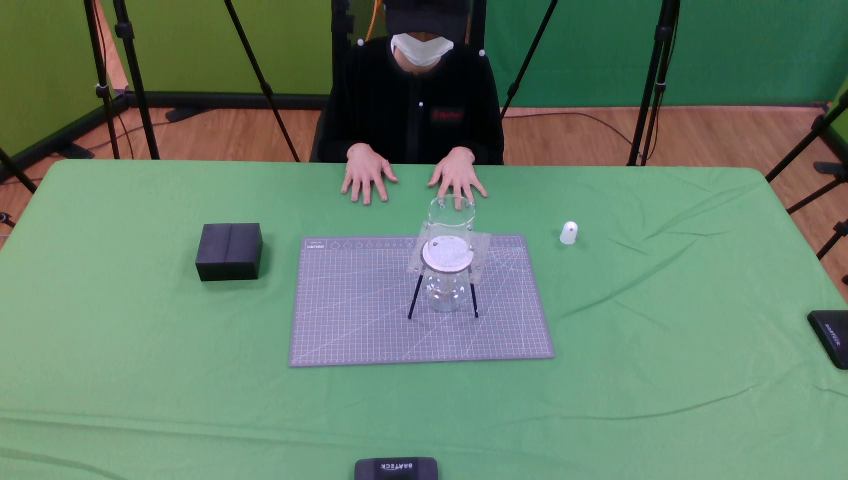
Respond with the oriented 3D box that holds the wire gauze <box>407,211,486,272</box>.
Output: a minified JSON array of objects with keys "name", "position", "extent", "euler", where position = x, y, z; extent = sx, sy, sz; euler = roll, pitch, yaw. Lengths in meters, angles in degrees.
[{"name":"wire gauze","position":[0.036,0.004,1.003],"extent":[0.125,0.011,0.120],"euler":[-6,49,-3]}]

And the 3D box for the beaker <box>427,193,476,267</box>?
[{"name":"beaker","position":[0.039,-0.011,0.972],"extent":[0.084,0.101,0.073],"euler":[-30,53,-28]}]

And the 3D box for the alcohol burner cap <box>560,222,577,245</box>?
[{"name":"alcohol burner cap","position":[0.295,-0.016,1.225],"extent":[0.034,0.048,0.033],"euler":[1,46,-1]}]

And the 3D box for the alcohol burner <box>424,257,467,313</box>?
[{"name":"alcohol burner","position":[0.038,0.072,1.064],"extent":[0.078,0.120,0.077],"euler":[1,47,-1]}]

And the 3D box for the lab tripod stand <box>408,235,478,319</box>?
[{"name":"lab tripod stand","position":[0.032,0.065,1.057],"extent":[0.148,0.132,0.147],"euler":[1,45,-1]}]
